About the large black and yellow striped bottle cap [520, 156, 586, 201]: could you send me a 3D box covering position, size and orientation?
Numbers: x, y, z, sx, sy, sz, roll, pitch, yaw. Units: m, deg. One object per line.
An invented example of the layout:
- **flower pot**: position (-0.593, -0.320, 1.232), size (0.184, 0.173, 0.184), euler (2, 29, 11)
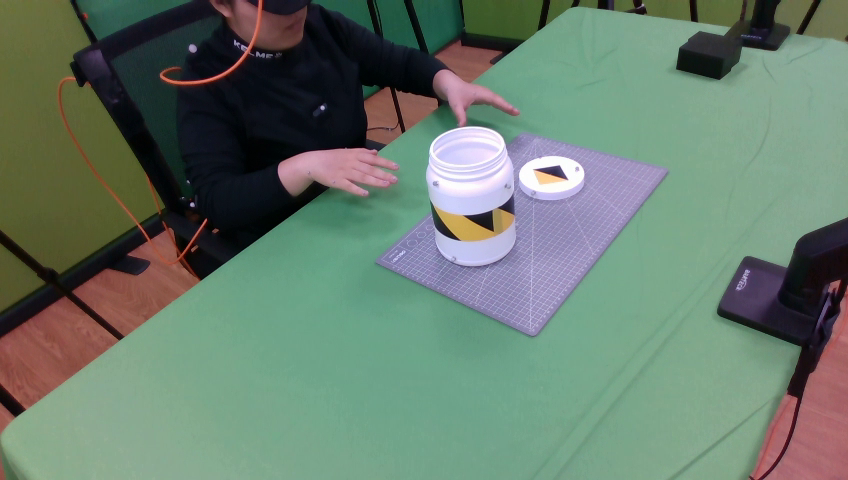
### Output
- **large black and yellow striped bottle cap**: position (0.228, -0.111, 1.072), size (0.115, 0.019, 0.114), euler (-6, 40, 6)

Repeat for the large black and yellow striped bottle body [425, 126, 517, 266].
- **large black and yellow striped bottle body**: position (0.072, -0.066, 0.917), size (0.131, 0.185, 0.130), euler (-5, 40, 5)
